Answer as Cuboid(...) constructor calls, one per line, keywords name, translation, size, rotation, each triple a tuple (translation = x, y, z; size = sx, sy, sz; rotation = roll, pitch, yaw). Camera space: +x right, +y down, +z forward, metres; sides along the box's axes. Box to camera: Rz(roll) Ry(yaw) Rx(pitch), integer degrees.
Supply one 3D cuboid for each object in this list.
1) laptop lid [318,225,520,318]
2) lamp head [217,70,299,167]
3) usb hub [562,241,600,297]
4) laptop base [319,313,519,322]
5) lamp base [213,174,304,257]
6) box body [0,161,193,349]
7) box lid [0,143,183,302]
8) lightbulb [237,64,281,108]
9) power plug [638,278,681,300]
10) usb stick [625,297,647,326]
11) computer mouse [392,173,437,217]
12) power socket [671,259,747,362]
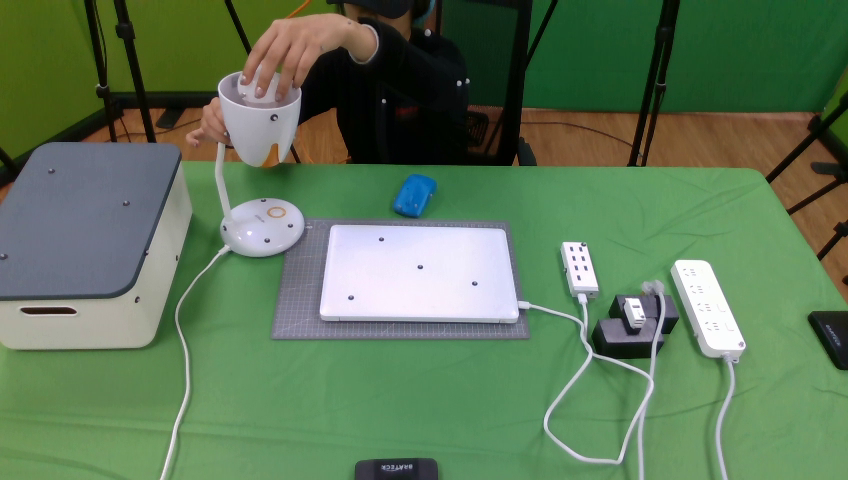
Cuboid(name="laptop lid", translation=(-0.009, 0.052, 1.131), size=(0.357, 0.013, 0.240), rotation=(2, 43, -2))
Cuboid(name="lamp head", translation=(-0.240, -0.170, 0.876), size=(0.112, 0.123, 0.111), rotation=(9, 45, -9))
Cuboid(name="usb hub", translation=(0.300, 0.054, 1.162), size=(0.049, 0.025, 0.124), rotation=(2, 46, -3))
Cuboid(name="laptop base", translation=(-0.009, 0.062, 1.137), size=(0.354, 0.023, 0.234), rotation=(1, 42, -3))
Cuboid(name="lamp base", translation=(-0.324, -0.074, 1.135), size=(0.160, 0.181, 0.179), rotation=(28, 53, 23))
Cuboid(name="box body", translation=(-0.570, 0.006, 1.054), size=(0.254, 0.161, 0.361), rotation=(-1, 46, -4))
Cuboid(name="box lid", translation=(-0.567, -0.045, 0.999), size=(0.263, 0.015, 0.369), rotation=(-1, 46, -4))
Cuboid(name="lightbulb", translation=(-0.231, -0.194, 0.855), size=(0.059, 0.108, 0.059), rotation=(6, 37, -4))
Cuboid(name="power plug", translation=(0.434, 0.099, 1.119), size=(0.073, 0.053, 0.035), rotation=(33, 39, -16))
Cuboid(name="usb stick", translation=(0.360, 0.116, 1.034), size=(0.021, 0.027, 0.059), rotation=(-2, 44, -2))
Cuboid(name="computer mouse", translation=(-0.018, -0.098, 1.282), size=(0.062, 0.041, 0.117), rotation=(20, 51, 13))
Cuboid(name="power socket", translation=(0.516, 0.119, 1.108), size=(0.072, 0.033, 0.225), rotation=(1, 46, -2))
